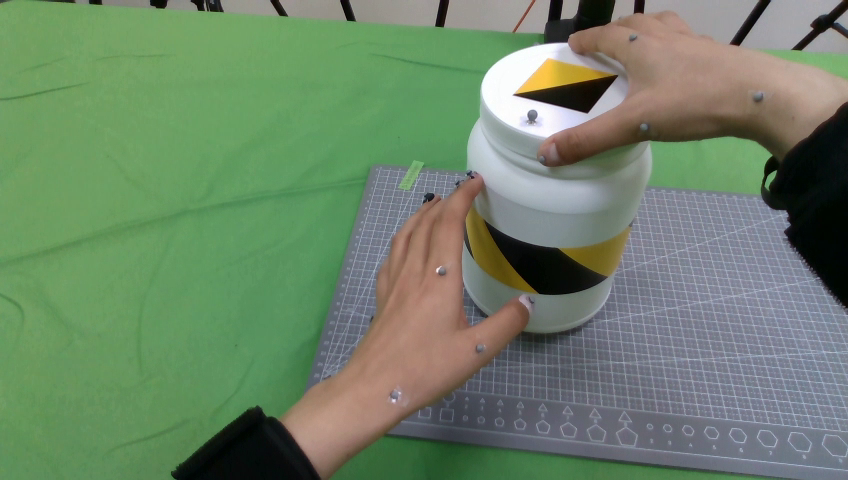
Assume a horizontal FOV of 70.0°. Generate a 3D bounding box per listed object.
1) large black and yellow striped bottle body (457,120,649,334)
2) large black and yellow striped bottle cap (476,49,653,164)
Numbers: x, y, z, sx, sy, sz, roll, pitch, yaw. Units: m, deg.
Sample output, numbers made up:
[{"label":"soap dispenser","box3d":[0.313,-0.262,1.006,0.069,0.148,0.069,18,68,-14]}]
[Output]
[{"label":"large black and yellow striped bottle body","box3d":[0.094,-0.030,0.467,0.131,0.185,0.129,0,46,0]},{"label":"large black and yellow striped bottle cap","box3d":[0.091,-0.092,0.402,0.115,0.019,0.114,-2,45,2]}]
